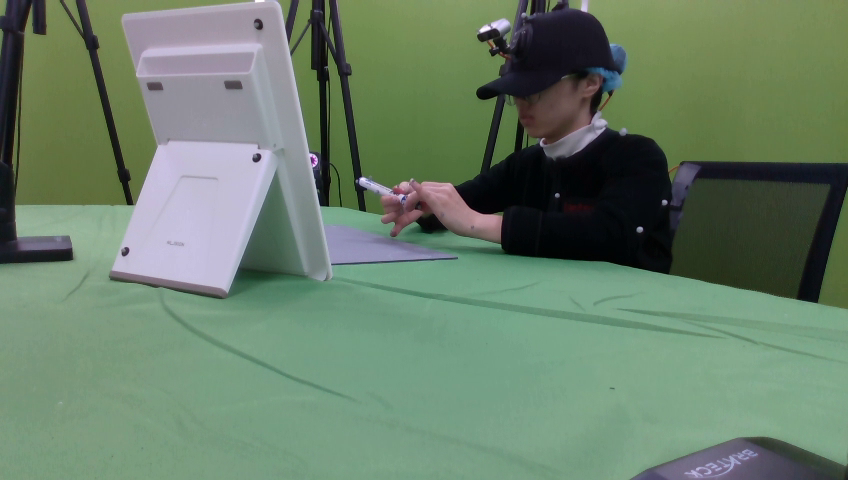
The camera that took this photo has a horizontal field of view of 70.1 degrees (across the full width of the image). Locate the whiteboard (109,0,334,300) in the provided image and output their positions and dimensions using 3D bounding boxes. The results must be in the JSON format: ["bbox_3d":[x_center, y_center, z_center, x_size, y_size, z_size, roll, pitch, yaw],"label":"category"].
[{"bbox_3d":[-0.247,-0.072,0.625,0.216,0.305,0.144,6,28,26],"label":"whiteboard"}]

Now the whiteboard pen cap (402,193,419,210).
[{"bbox_3d":[-0.025,-0.067,1.031,0.018,0.018,0.033,-5,37,-42],"label":"whiteboard pen cap"}]

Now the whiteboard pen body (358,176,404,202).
[{"bbox_3d":[-0.066,-0.087,1.066,0.140,0.017,0.017,25,20,36],"label":"whiteboard pen body"}]
